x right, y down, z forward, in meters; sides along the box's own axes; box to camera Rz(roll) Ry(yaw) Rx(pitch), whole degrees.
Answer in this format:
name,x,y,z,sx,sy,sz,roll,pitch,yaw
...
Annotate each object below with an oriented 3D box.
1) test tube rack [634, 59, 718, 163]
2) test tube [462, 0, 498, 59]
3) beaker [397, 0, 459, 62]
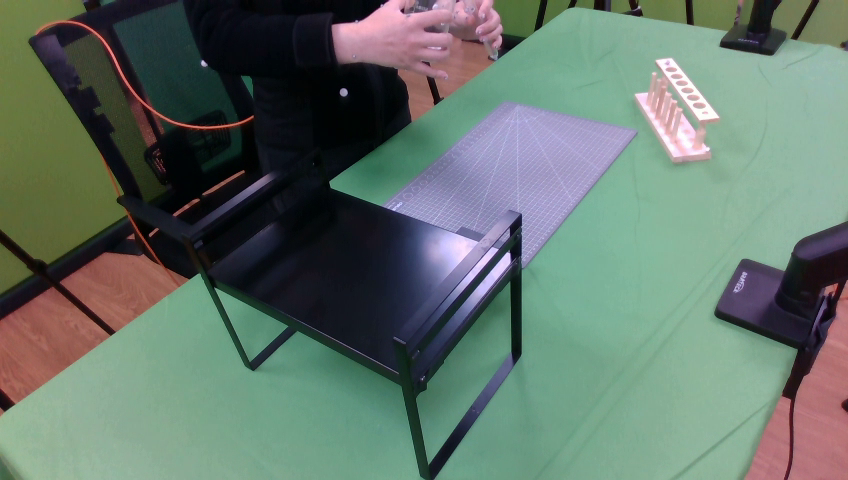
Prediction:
name,x,y,z,sx,sy,sz,roll,pitch,yaw
test tube rack,0.470,-0.250,1.148,0.067,0.085,0.241,-6,40,3
test tube,0.093,-0.344,0.983,0.017,0.151,0.017,-9,65,22
beaker,0.006,-0.320,0.893,0.084,0.100,0.073,-1,32,-33
